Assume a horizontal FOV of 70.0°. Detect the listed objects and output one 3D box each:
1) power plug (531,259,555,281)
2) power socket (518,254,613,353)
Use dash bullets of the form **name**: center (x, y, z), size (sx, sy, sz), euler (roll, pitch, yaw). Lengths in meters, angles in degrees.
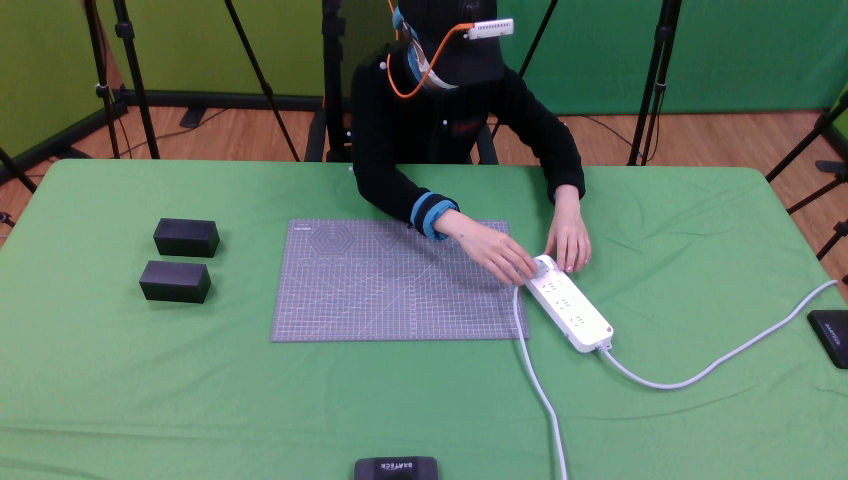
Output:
- **power plug**: center (0.231, 0.059, 1.116), size (0.073, 0.035, 0.052), euler (24, 40, -11)
- **power socket**: center (0.252, 0.111, 1.099), size (0.072, 0.033, 0.225), euler (-19, 51, -19)
